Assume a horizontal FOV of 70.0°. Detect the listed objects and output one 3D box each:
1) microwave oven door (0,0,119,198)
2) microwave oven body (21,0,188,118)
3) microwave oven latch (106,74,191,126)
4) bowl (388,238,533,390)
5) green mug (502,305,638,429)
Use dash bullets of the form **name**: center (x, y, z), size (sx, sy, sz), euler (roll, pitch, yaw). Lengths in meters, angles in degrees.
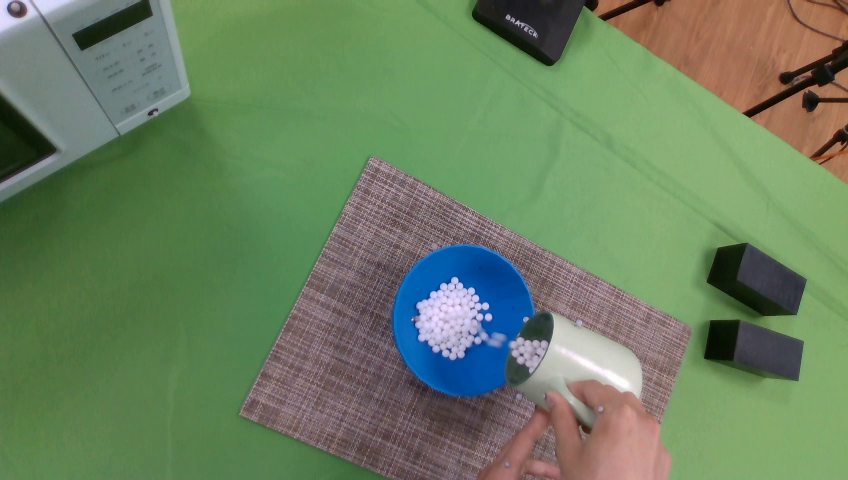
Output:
- **microwave oven door**: center (-0.404, -0.032, 0.413), size (0.356, 0.243, 0.039), euler (-36, 93, -18)
- **microwave oven body**: center (-0.457, -0.175, 0.419), size (0.441, 0.260, 0.326), euler (-36, 95, -17)
- **microwave oven latch**: center (-0.262, -0.141, 0.575), size (0.079, 0.029, 0.030), euler (-34, 94, -17)
- **bowl**: center (0.029, 0.076, 0.630), size (0.152, 0.076, 0.151), euler (2, 83, -17)
- **green mug**: center (0.139, 0.126, 0.561), size (0.105, 0.124, 0.092), euler (30, 105, -12)
